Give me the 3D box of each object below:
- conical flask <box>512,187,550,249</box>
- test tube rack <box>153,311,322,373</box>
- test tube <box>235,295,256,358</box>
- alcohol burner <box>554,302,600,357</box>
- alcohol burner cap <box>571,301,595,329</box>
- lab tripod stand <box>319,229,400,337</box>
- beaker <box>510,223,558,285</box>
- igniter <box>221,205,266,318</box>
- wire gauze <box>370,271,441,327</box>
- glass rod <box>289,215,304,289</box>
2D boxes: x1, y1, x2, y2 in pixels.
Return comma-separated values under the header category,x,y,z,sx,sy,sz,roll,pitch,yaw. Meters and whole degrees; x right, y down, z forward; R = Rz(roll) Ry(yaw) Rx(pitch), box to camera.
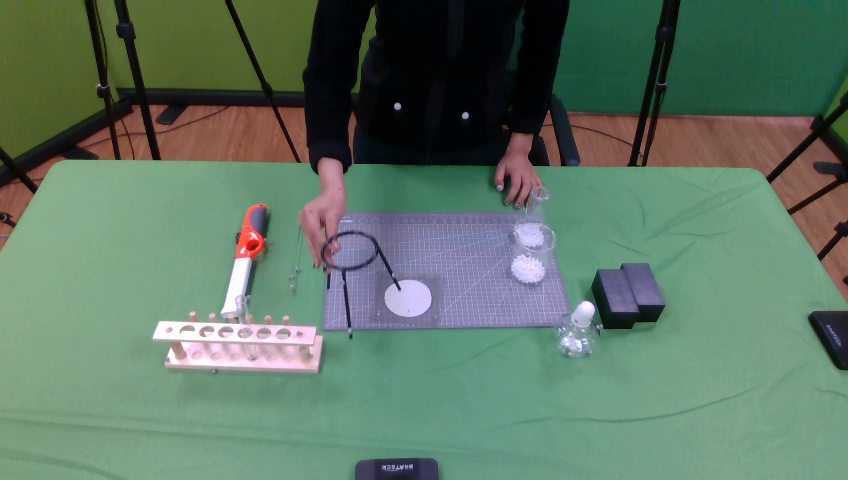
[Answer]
category,x,y,z,sx,sy,sz,roll,pitch,yaw
conical flask,0.217,-0.048,1.190,0.075,0.122,0.075,2,46,-2
test tube rack,-0.293,0.160,0.977,0.242,0.085,0.066,3,46,-2
test tube,-0.274,0.136,0.933,0.017,0.151,0.017,4,45,-4
alcohol burner,0.260,0.143,1.018,0.078,0.119,0.077,3,45,-3
alcohol burner cap,0.262,0.120,0.991,0.034,0.048,0.033,2,52,-2
lab tripod stand,-0.110,0.057,0.971,0.148,0.132,0.147,-1,40,1
beaker,0.199,0.028,1.131,0.083,0.101,0.074,26,50,21
igniter,-0.337,0.030,1.140,0.057,0.025,0.274,-6,46,4
wire gauze,-0.032,0.103,1.104,0.125,0.011,0.121,4,46,3
glass rod,-0.246,0.019,1.171,0.008,0.008,0.198,0,44,-3
